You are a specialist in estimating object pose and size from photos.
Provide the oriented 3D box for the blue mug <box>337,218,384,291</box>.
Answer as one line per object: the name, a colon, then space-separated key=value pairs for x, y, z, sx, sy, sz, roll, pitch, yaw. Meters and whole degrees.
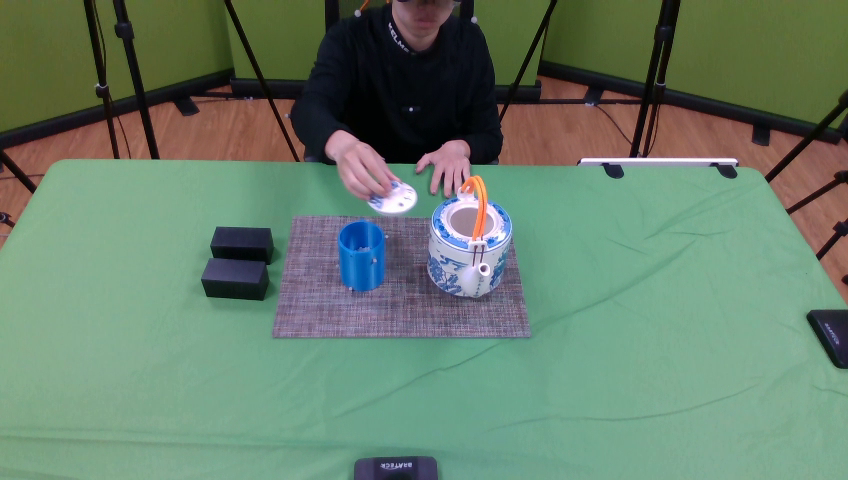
blue mug: x=-0.115 y=0.018 z=1.110 sx=0.082 sy=0.106 sz=0.116 roll=1 pitch=46 yaw=-3

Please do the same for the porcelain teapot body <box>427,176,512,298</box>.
porcelain teapot body: x=0.085 y=0.010 z=1.051 sx=0.145 sy=0.226 sz=0.204 roll=-5 pitch=47 yaw=-8

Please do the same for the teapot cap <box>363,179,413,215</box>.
teapot cap: x=-0.060 y=-0.078 z=1.017 sx=0.085 sy=0.044 sz=0.084 roll=-1 pitch=45 yaw=1
